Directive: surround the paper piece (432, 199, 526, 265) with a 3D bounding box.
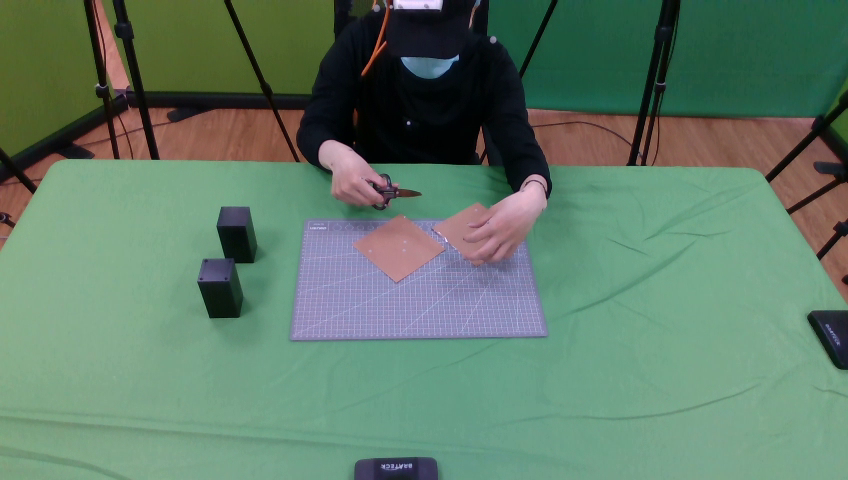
[{"bbox_3d":[0.111,-0.020,1.227,0.138,0.009,0.135,-30,58,-29],"label":"paper piece"}]

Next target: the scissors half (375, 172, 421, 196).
[{"bbox_3d":[-0.052,-0.105,1.167,0.013,0.040,0.174,5,9,-32],"label":"scissors half"}]

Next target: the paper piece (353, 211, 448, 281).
[{"bbox_3d":[-0.047,0.008,1.188,0.135,0.004,0.134,-33,57,-30],"label":"paper piece"}]

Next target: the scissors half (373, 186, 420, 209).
[{"bbox_3d":[-0.054,-0.085,1.166,0.013,0.175,0.040,11,80,-32],"label":"scissors half"}]
